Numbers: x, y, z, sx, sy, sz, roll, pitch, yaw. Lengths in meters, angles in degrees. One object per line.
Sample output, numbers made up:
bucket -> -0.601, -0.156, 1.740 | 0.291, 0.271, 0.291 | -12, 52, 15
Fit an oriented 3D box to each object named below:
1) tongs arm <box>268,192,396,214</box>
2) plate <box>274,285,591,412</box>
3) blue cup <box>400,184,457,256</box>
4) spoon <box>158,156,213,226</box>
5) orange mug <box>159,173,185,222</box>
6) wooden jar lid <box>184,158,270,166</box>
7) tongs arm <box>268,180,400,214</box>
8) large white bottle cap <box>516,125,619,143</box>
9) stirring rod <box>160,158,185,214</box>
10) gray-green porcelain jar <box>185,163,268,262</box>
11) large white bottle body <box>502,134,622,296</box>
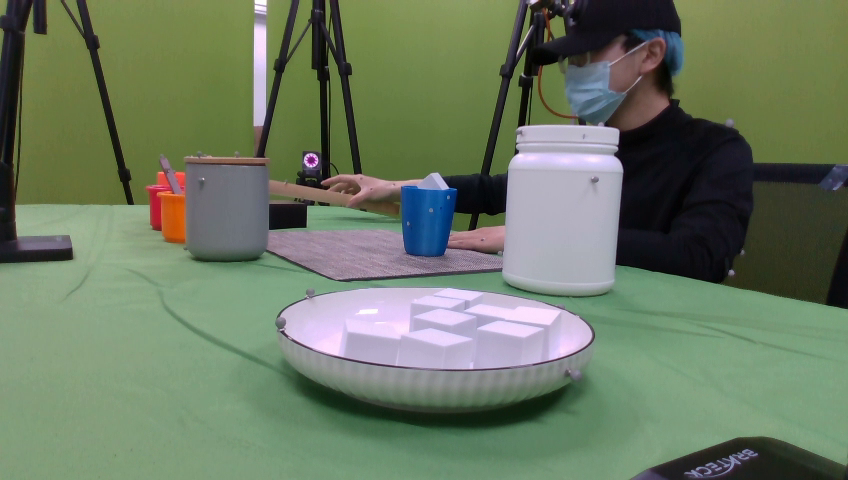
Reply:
tongs arm -> -0.245, -0.104, 1.423 | 0.389, 0.027, 0.028 | 8, -4, -26
plate -> 0.005, 0.069, 0.408 | 0.208, 0.039, 0.207 | 2, 7, 0
blue cup -> 0.003, -0.030, 0.901 | 0.093, 0.100, 0.092 | 4, 9, 0
spoon -> -0.434, -0.094, 1.121 | 0.041, 0.022, 0.193 | 5, 51, 13
orange mug -> -0.477, -0.089, 1.241 | 0.127, 0.101, 0.083 | -7, 11, -33
wooden jar lid -> -0.260, -0.099, 0.801 | 0.108, 0.020, 0.108 | 0, 9, 0
tongs arm -> -0.209, -0.097, 1.367 | 0.387, 0.026, 0.050 | 8, 0, -35
large white bottle cap -> 0.164, -0.120, 0.695 | 0.115, 0.018, 0.115 | 2, 7, 0
stirring rod -> -0.390, -0.070, 0.972 | 0.014, 0.006, 0.175 | -2, 50, -48
gray-green porcelain jar -> -0.263, -0.038, 0.809 | 0.106, 0.126, 0.106 | 3, 8, 0
large white bottle body -> 0.161, -0.037, 0.706 | 0.131, 0.184, 0.130 | 2, 7, 0
